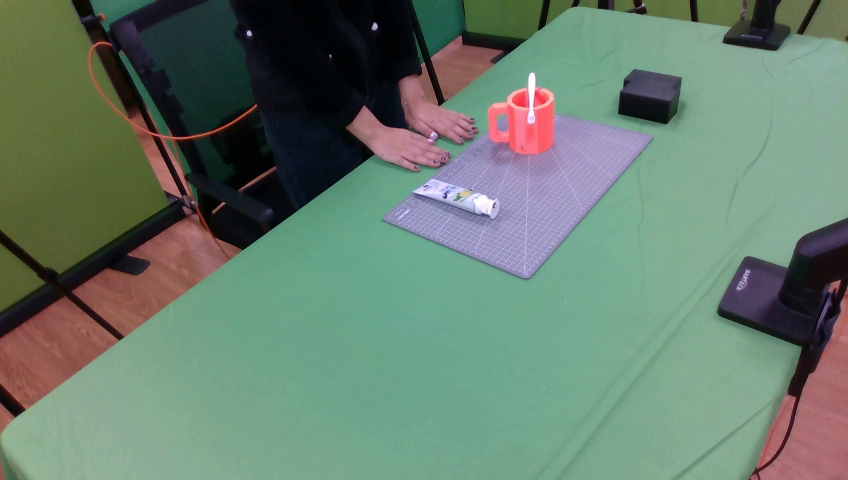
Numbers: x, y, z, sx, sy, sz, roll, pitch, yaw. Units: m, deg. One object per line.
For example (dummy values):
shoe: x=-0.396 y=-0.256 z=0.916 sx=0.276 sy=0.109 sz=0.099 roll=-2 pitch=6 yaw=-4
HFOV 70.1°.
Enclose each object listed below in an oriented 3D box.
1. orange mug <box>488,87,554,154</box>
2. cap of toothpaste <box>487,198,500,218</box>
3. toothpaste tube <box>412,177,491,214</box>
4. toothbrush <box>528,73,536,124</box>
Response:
orange mug: x=0.185 y=-0.227 z=1.151 sx=0.126 sy=0.101 sz=0.083 roll=1 pitch=41 yaw=5
cap of toothpaste: x=0.115 y=-0.054 z=1.006 sx=0.011 sy=0.037 sz=0.037 roll=17 pitch=47 yaw=24
toothpaste tube: x=0.056 y=-0.079 z=1.057 sx=0.163 sy=0.034 sz=0.055 roll=22 pitch=42 yaw=37
toothbrush: x=0.198 y=-0.267 z=1.114 sx=0.014 sy=0.017 sz=0.181 roll=-5 pitch=40 yaw=14
